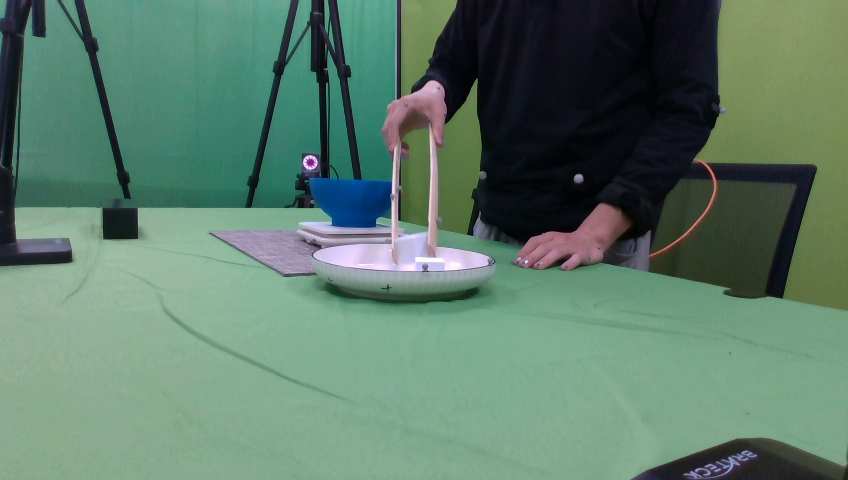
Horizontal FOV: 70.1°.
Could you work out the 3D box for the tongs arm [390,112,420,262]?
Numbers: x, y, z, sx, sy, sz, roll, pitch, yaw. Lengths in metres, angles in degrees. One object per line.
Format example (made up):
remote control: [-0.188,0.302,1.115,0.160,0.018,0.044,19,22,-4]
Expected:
tongs arm: [-0.023,-0.093,0.851,0.051,0.026,0.384,-15,32,6]

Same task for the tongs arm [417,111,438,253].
tongs arm: [0.004,-0.099,0.846,0.028,0.028,0.386,-17,32,11]

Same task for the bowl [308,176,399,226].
bowl: [-0.117,-0.064,1.001,0.151,0.077,0.151,2,6,0]

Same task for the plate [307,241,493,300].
plate: [-0.027,0.034,0.684,0.208,0.039,0.207,2,7,0]

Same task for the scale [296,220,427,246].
scale: [-0.101,-0.012,1.017,0.202,0.031,0.148,-1,8,-30]
